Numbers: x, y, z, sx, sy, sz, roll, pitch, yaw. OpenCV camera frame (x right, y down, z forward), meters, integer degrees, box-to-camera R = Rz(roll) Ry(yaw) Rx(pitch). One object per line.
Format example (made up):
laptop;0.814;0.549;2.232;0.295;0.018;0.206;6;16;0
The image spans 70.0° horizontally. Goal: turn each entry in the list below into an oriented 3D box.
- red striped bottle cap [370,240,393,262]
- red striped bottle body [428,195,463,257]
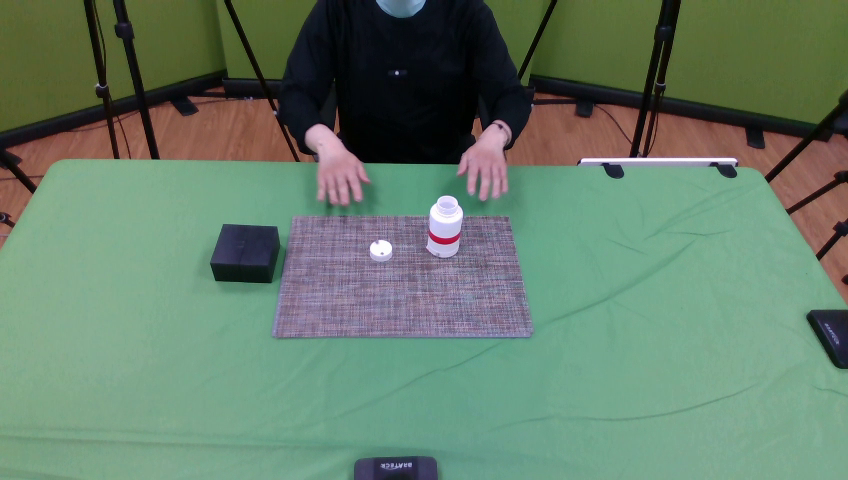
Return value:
red striped bottle cap;-0.082;0.020;1.168;0.044;0.018;0.044;-2;47;3
red striped bottle body;0.041;-0.028;1.152;0.063;0.120;0.062;2;46;-2
